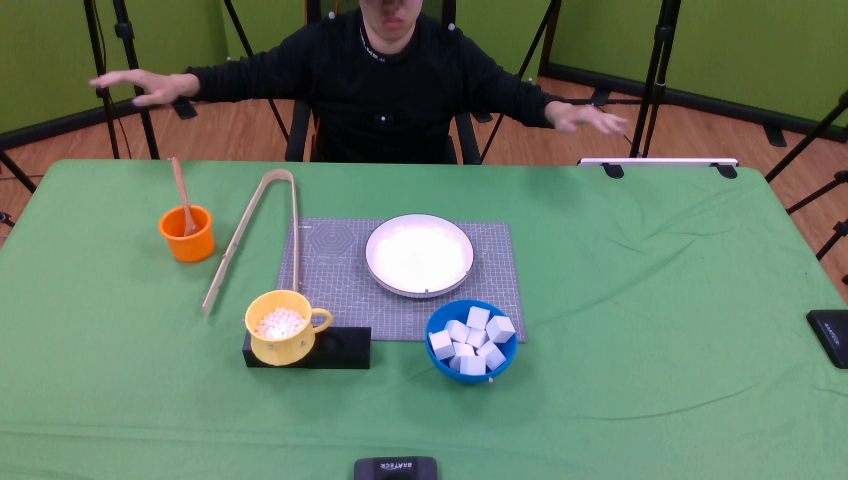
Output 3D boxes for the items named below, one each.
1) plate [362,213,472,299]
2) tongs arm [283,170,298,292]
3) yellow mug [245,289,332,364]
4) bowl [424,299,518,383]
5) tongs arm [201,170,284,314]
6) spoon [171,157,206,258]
[{"bbox_3d":[-0.014,0.034,1.150,0.208,0.039,0.206,3,46,-2],"label":"plate"},{"bbox_3d":[-0.259,-0.008,1.178,0.028,0.028,0.385,-8,46,-6],"label":"tongs arm"},{"bbox_3d":[-0.210,0.133,0.954,0.131,0.064,0.099,-9,48,-14],"label":"yellow mug"},{"bbox_3d":[0.072,0.179,0.993,0.151,0.077,0.150,3,46,-3],"label":"bowl"},{"bbox_3d":[-0.342,-0.011,1.172,0.051,0.026,0.382,4,44,1],"label":"tongs arm"},{"bbox_3d":[-0.444,-0.061,1.133,0.042,0.193,0.021,-12,4,-20],"label":"spoon"}]
